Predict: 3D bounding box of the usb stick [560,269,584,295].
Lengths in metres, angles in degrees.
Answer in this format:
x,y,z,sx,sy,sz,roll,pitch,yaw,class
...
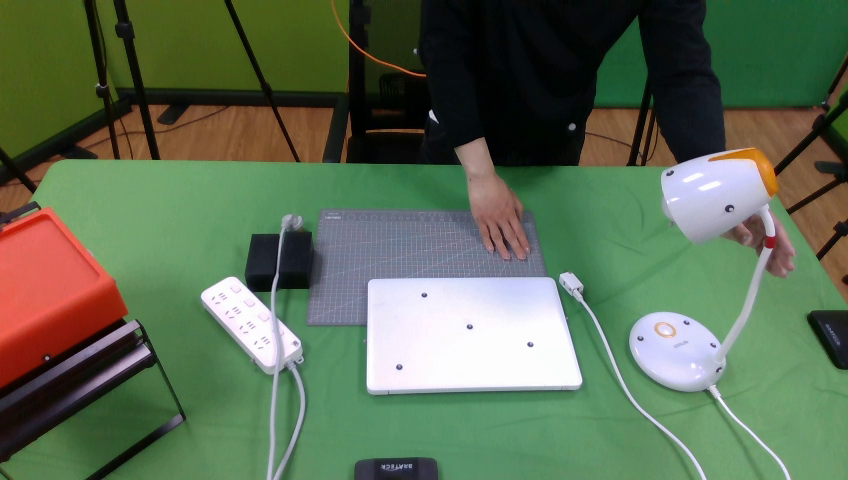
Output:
x,y,z,sx,sy,sz,roll,pitch,yaw,class
0.274,0.077,1.142,0.027,0.021,0.059,-11,39,-13,usb stick

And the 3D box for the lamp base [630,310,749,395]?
x,y,z,sx,sy,sz,roll,pitch,yaw,class
0.447,0.142,0.984,0.161,0.181,0.178,-24,55,-24,lamp base

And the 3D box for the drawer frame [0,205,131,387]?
x,y,z,sx,sy,sz,roll,pitch,yaw,class
-0.539,0.075,0.795,0.200,0.083,0.213,36,55,26,drawer frame

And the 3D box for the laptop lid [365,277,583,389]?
x,y,z,sx,sy,sz,roll,pitch,yaw,class
0.077,0.152,1.046,0.357,0.013,0.240,1,45,-3,laptop lid

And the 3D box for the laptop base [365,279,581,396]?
x,y,z,sx,sy,sz,roll,pitch,yaw,class
0.077,0.162,1.053,0.355,0.023,0.234,0,44,-4,laptop base

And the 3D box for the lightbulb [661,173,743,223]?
x,y,z,sx,sy,sz,roll,pitch,yaw,class
0.370,-0.060,0.808,0.060,0.107,0.059,20,59,-36,lightbulb

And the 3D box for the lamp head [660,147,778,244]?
x,y,z,sx,sy,sz,roll,pitch,yaw,class
0.389,-0.063,0.785,0.123,0.113,0.112,-22,32,37,lamp head

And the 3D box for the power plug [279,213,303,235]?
x,y,z,sx,sy,sz,roll,pitch,yaw,class
-0.263,-0.022,1.184,0.035,0.053,0.072,1,48,32,power plug

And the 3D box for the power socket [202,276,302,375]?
x,y,z,sx,sy,sz,roll,pitch,yaw,class
-0.296,0.142,1.034,0.072,0.033,0.225,-34,58,-30,power socket

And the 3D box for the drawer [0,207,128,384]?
x,y,z,sx,sy,sz,roll,pitch,yaw,class
-0.540,0.074,0.799,0.193,0.073,0.211,37,55,27,drawer

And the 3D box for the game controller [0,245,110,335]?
x,y,z,sx,sy,sz,roll,pitch,yaw,class
-0.511,0.062,0.830,0.097,0.052,0.154,-30,58,-31,game controller
